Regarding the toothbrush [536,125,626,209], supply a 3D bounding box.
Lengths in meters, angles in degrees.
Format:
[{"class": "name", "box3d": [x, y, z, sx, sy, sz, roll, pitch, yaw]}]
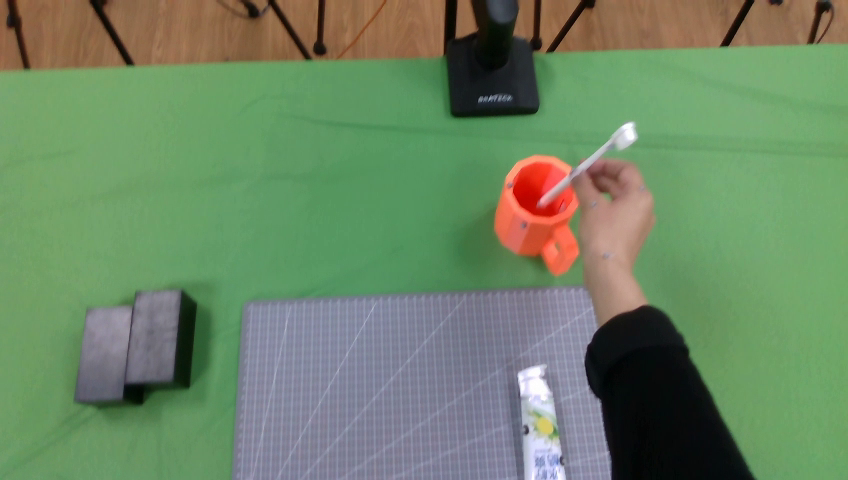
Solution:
[{"class": "toothbrush", "box3d": [0.154, -0.066, 0.615, 0.014, 0.182, 0.016, -17, 76, -19]}]

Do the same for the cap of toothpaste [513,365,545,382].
[{"class": "cap of toothpaste", "box3d": [0.117, 0.148, 0.672, 0.037, 0.037, 0.011, -15, 66, -8]}]

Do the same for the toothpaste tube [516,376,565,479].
[{"class": "toothpaste tube", "box3d": [0.122, 0.226, 0.647, 0.055, 0.035, 0.164, -6, 72, 4]}]

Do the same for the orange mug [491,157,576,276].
[{"class": "orange mug", "box3d": [0.135, -0.023, 0.712, 0.083, 0.101, 0.125, -23, 66, -10]}]
